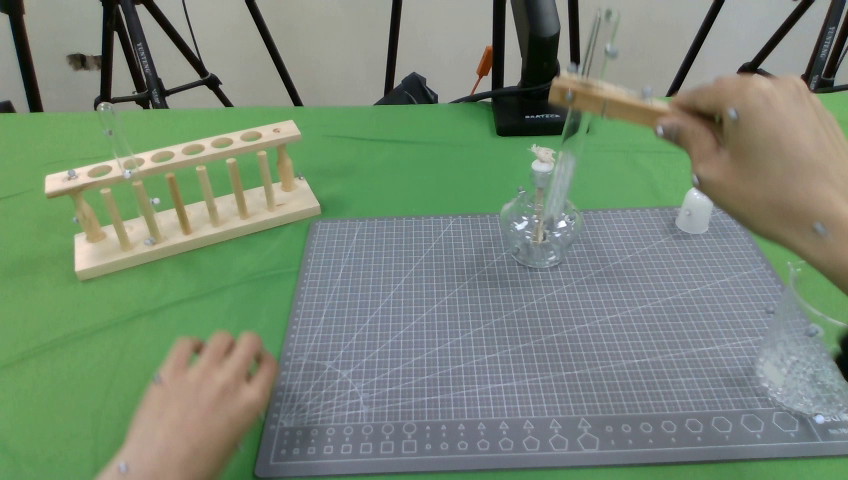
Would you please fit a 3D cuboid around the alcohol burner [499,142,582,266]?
[{"bbox_3d":[0.109,-0.036,0.564,0.078,0.120,0.077,-2,38,2],"label":"alcohol burner"}]

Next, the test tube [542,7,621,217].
[{"bbox_3d":[0.101,-0.077,0.402,0.017,0.151,0.017,5,39,-3],"label":"test tube"}]

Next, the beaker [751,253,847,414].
[{"bbox_3d":[0.285,0.069,0.439,0.074,0.101,0.083,-21,42,-21],"label":"beaker"}]

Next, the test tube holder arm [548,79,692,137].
[{"bbox_3d":[0.121,-0.083,0.377,0.087,0.015,0.010,20,42,17],"label":"test tube holder arm"}]

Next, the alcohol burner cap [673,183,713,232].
[{"bbox_3d":[0.273,-0.035,0.613,0.034,0.048,0.033,-1,39,1],"label":"alcohol burner cap"}]

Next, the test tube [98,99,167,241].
[{"bbox_3d":[-0.272,-0.062,0.569,0.017,0.152,0.017,-2,38,2],"label":"test tube"}]

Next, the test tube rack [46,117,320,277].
[{"bbox_3d":[-0.238,-0.048,0.622,0.243,0.086,0.066,-17,42,-18],"label":"test tube rack"}]

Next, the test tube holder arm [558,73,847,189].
[{"bbox_3d":[0.162,-0.069,0.365,0.177,0.015,0.013,25,44,23],"label":"test tube holder arm"}]
